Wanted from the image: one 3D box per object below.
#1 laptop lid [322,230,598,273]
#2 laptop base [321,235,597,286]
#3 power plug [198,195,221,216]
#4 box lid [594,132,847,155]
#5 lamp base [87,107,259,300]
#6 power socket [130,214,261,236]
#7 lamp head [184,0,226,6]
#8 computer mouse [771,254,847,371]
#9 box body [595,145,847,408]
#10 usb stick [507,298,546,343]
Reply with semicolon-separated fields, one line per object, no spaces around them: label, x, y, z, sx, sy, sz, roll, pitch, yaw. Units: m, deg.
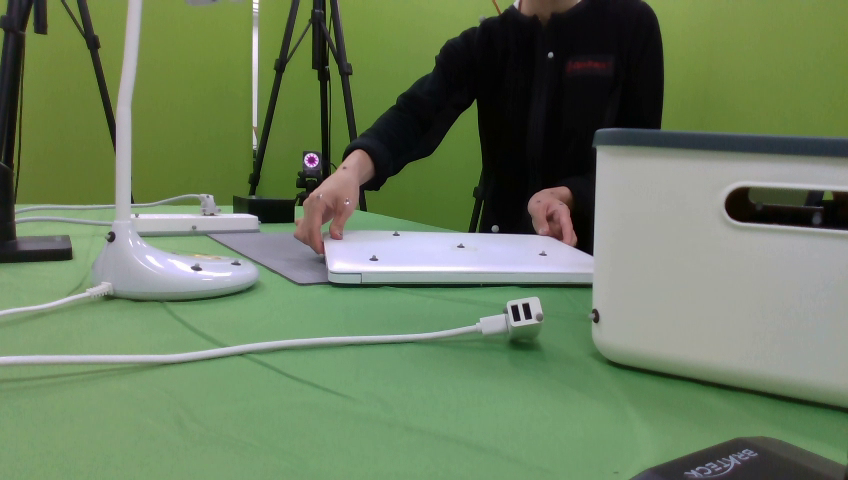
laptop lid;0.048;0.013;0.790;0.358;0.013;0.241;1;11;-11
laptop base;0.048;0.025;0.791;0.355;0.023;0.235;1;10;-12
power plug;-0.385;-0.055;1.088;0.035;0.052;0.072;-1;6;-24
box lid;0.310;-0.066;0.499;0.262;0.015;0.373;7;8;29
lamp base;-0.254;-0.039;0.603;0.160;0.180;0.179;5;10;18
power socket;-0.397;-0.028;1.048;0.228;0.032;0.072;-3;7;-35
lamp head;-0.229;-0.320;0.627;0.112;0.112;0.123;6;-35;26
computer mouse;0.344;0.057;0.518;0.063;0.041;0.117;12;47;3
box body;0.309;0.007;0.510;0.253;0.160;0.366;6;8;29
usb stick;0.079;0.065;0.470;0.027;0.021;0.059;-12;-24;4
